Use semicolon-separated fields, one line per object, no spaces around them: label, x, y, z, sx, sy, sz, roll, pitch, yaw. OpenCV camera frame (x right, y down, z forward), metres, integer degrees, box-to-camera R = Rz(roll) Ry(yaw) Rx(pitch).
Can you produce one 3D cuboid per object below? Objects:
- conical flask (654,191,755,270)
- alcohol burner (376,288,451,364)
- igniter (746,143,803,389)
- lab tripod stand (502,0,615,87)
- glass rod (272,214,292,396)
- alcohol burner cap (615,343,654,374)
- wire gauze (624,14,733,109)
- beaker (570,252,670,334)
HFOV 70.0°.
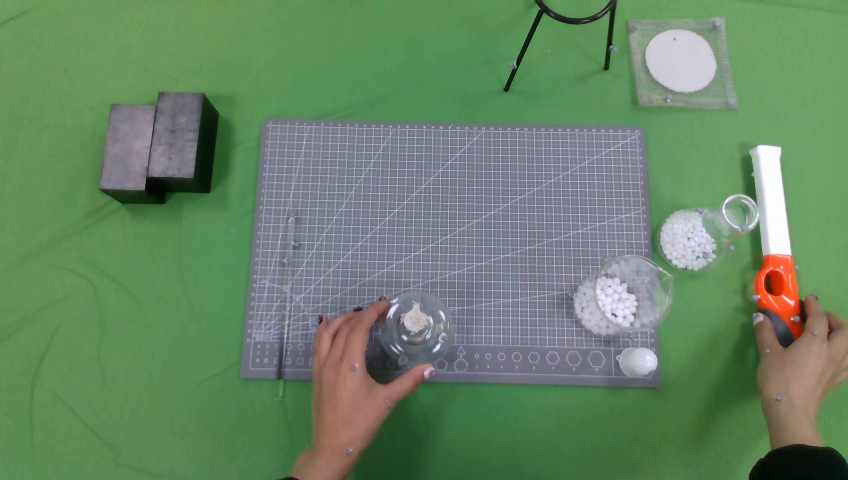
conical flask;0.296;-0.016;0.631;0.075;0.122;0.075;0;77;0
alcohol burner;-0.011;0.084;0.607;0.078;0.119;0.077;0;76;2
igniter;0.387;0.025;0.671;0.057;0.025;0.275;4;77;-11
lab tripod stand;0.149;-0.245;0.675;0.148;0.132;0.147;0;79;0
glass rod;-0.155;0.068;0.662;0.008;0.008;0.199;2;80;0
alcohol burner cap;0.224;0.123;0.637;0.034;0.048;0.033;0;76;-1
wire gauze;0.309;-0.218;0.735;0.125;0.011;0.121;0;78;-2
beaker;0.197;0.057;0.622;0.084;0.100;0.073;-22;78;-6
